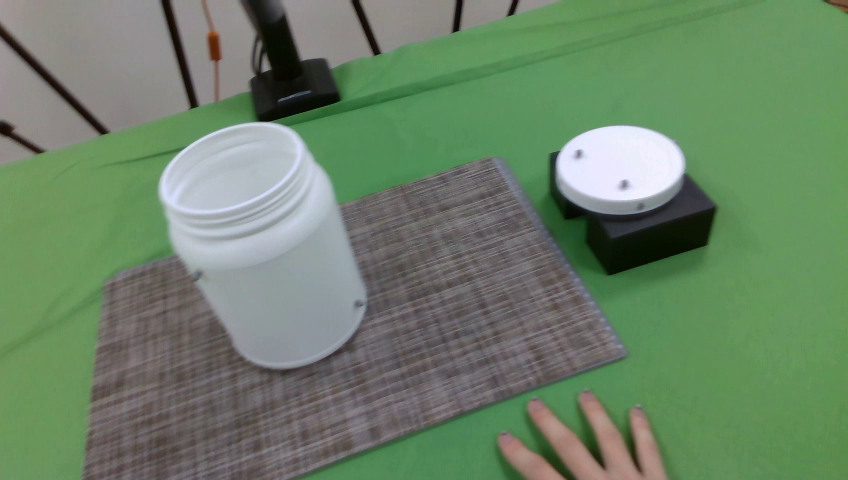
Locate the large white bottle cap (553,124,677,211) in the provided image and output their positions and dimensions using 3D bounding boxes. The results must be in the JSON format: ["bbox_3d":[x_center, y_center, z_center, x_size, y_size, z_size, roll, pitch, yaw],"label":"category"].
[{"bbox_3d":[0.182,-0.071,0.580,0.115,0.018,0.113,-6,45,6],"label":"large white bottle cap"}]

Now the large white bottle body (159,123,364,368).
[{"bbox_3d":[-0.132,0.007,0.516,0.130,0.186,0.129,-6,45,6],"label":"large white bottle body"}]
